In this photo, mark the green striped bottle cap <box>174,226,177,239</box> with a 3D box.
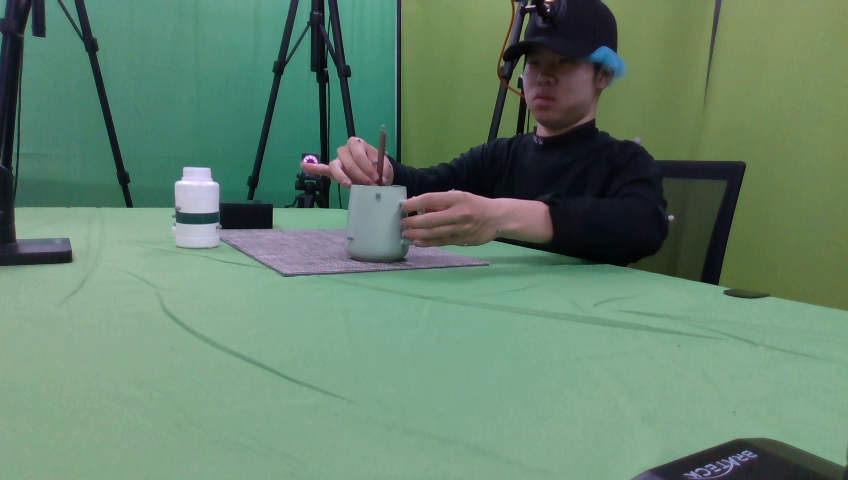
[{"bbox_3d":[-0.405,-0.015,1.036,0.044,0.020,0.044,-1,10,0],"label":"green striped bottle cap"}]

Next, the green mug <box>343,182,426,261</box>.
[{"bbox_3d":[-0.053,-0.026,0.848,0.125,0.105,0.093,6,8,29],"label":"green mug"}]

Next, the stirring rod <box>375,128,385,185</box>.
[{"bbox_3d":[-0.067,-0.071,0.868,0.006,0.176,0.014,-4,17,-32],"label":"stirring rod"}]

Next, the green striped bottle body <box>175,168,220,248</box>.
[{"bbox_3d":[-0.345,-0.050,0.924,0.063,0.119,0.063,2,7,0],"label":"green striped bottle body"}]
